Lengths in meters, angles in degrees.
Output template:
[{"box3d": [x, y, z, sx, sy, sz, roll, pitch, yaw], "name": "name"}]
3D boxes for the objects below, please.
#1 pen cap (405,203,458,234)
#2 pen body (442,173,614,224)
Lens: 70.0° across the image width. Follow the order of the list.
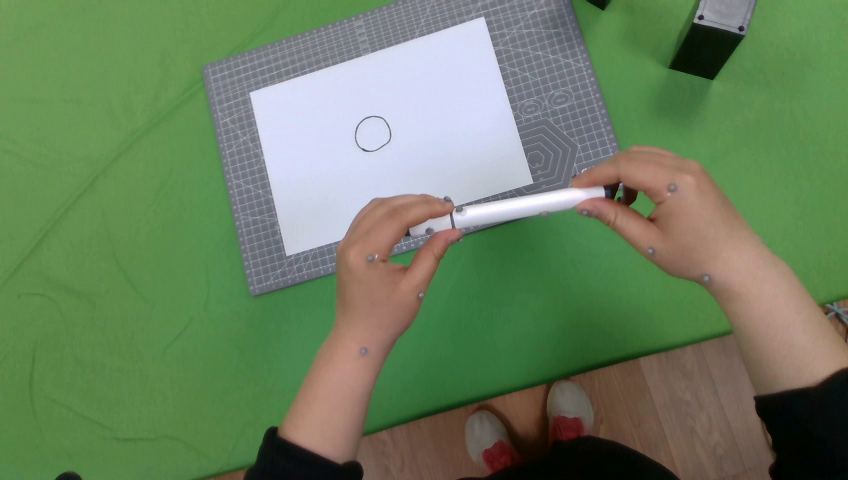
[{"box3d": [0.005, -0.017, 0.446, 0.038, 0.017, 0.017, 12, 83, -14], "name": "pen cap"}, {"box3d": [0.065, -0.027, 0.442, 0.144, 0.017, 0.017, -11, 80, 6], "name": "pen body"}]
